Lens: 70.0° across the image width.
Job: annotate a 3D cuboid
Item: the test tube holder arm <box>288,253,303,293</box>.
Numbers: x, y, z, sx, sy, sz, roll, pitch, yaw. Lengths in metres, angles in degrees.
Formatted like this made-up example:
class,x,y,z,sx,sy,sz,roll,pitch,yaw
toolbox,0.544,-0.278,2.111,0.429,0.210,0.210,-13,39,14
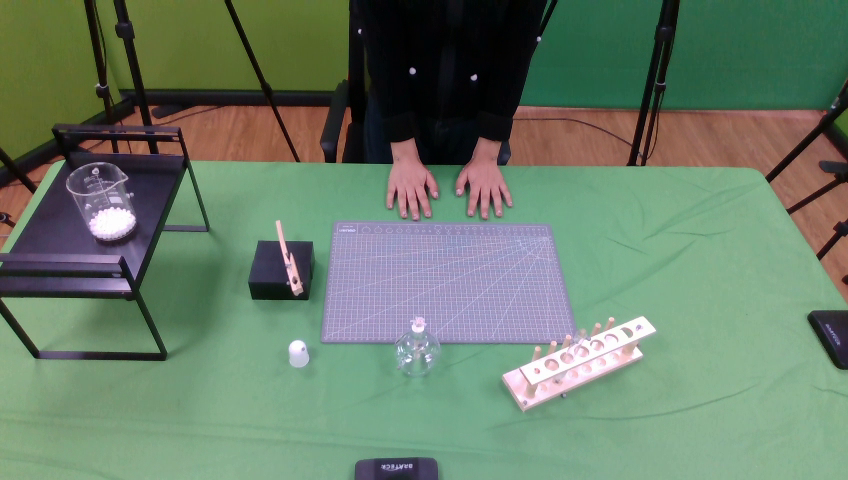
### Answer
class,x,y,z,sx,sy,sz,roll,pitch,yaw
test tube holder arm,-0.227,0.057,1.059,0.010,0.015,0.087,-16,48,-15

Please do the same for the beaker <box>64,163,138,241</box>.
class,x,y,z,sx,sy,sz,roll,pitch,yaw
beaker,-0.477,-0.055,0.910,0.084,0.101,0.073,-9,48,-13

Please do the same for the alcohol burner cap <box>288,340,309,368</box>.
class,x,y,z,sx,sy,sz,roll,pitch,yaw
alcohol burner cap,-0.207,0.182,0.991,0.034,0.048,0.033,3,46,-3

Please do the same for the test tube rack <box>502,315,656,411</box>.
class,x,y,z,sx,sy,sz,roll,pitch,yaw
test tube rack,0.253,0.186,0.989,0.242,0.085,0.066,-18,50,-20

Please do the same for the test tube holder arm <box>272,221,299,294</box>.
class,x,y,z,sx,sy,sz,roll,pitch,yaw
test tube holder arm,-0.250,0.028,1.087,0.013,0.015,0.177,-17,48,-16

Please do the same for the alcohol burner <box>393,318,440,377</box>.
class,x,y,z,sx,sy,sz,roll,pitch,yaw
alcohol burner,-0.012,0.166,0.971,0.078,0.120,0.077,1,45,-1

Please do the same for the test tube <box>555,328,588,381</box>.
class,x,y,z,sx,sy,sz,roll,pitch,yaw
test tube,0.223,0.178,0.925,0.017,0.151,0.017,2,52,-2
